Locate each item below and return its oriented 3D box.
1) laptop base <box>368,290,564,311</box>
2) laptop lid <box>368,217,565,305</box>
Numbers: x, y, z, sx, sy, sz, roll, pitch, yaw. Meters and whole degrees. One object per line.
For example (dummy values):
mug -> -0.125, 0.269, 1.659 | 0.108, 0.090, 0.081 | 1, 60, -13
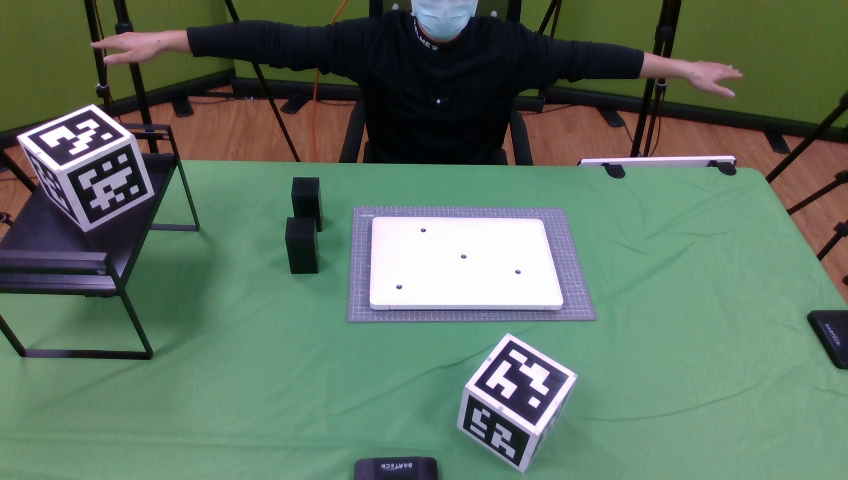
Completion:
laptop base -> 0.074, 0.044, 1.160 | 0.354, 0.023, 0.234 | 0, 43, -3
laptop lid -> 0.074, 0.034, 1.153 | 0.357, 0.013, 0.240 | 2, 44, -2
